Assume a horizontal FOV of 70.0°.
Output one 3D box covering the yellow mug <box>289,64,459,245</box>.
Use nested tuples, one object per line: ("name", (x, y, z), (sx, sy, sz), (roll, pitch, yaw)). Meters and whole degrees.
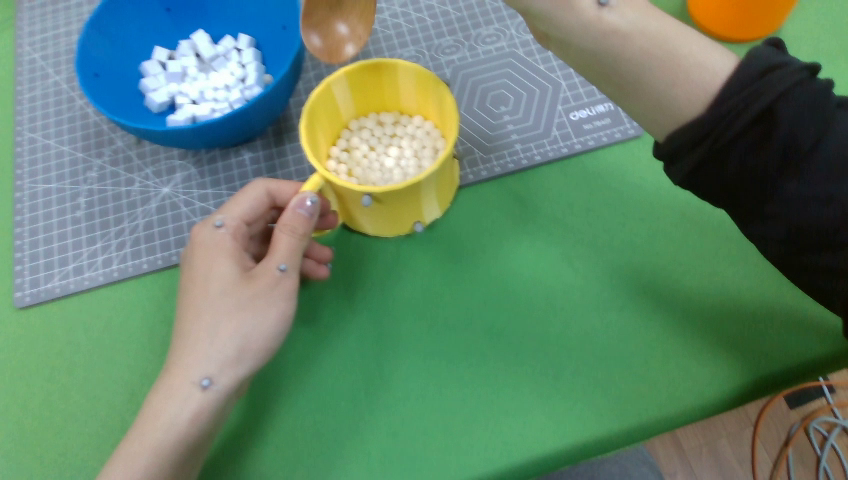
("yellow mug", (-0.038, -0.046, 0.398), (0.099, 0.064, 0.130), (40, 74, 18))

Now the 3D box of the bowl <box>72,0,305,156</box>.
("bowl", (-0.151, -0.114, 0.427), (0.151, 0.077, 0.150), (-1, 66, 3))

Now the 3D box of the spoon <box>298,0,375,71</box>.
("spoon", (-0.018, -0.166, 0.299), (0.042, 0.194, 0.021), (30, 42, -8))
